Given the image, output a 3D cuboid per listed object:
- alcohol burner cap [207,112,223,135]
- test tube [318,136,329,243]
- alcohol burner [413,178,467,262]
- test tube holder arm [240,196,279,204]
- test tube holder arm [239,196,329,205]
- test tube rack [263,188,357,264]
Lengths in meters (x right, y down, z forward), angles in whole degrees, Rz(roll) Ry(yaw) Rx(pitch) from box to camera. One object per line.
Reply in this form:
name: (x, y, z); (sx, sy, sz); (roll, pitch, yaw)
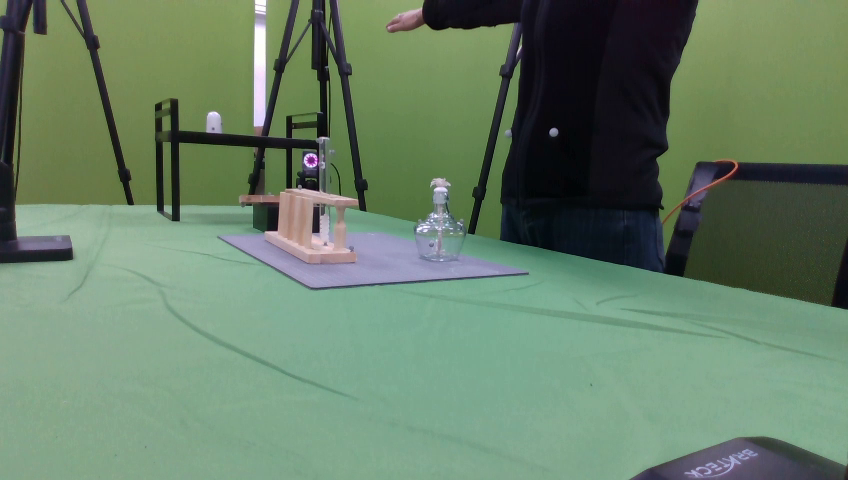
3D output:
alcohol burner cap: (-0.440, -0.245, 1.271); (0.034, 0.048, 0.034); (1, 7, 0)
test tube: (-0.142, -0.070, 0.852); (0.017, 0.150, 0.017); (1, 7, 0)
alcohol burner: (0.022, -0.029, 0.864); (0.078, 0.119, 0.078); (1, 6, 0)
test tube holder arm: (-0.296, -0.075, 1.124); (0.088, 0.015, 0.010); (-1, 4, -35)
test tube holder arm: (-0.263, -0.076, 1.155); (0.179, 0.015, 0.013); (-1, 4, -36)
test tube rack: (-0.175, -0.027, 0.890); (0.067, 0.085, 0.241); (0, 8, -28)
